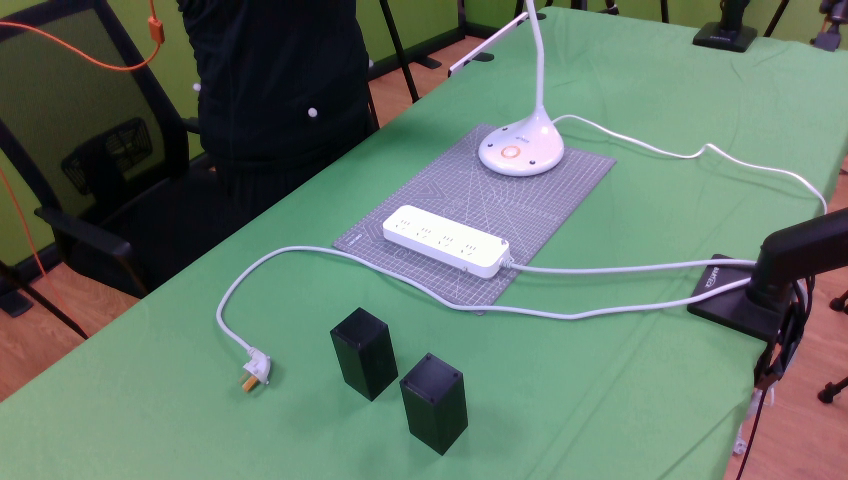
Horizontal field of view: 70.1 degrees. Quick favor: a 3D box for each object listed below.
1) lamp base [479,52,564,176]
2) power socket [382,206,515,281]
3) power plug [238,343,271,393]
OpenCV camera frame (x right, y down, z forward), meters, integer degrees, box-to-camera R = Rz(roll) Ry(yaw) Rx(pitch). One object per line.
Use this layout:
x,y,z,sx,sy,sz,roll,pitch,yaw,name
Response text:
0.181,-0.235,1.094,0.159,0.181,0.179,18,44,27,lamp base
0.032,0.002,0.950,0.225,0.033,0.072,21,49,29,power socket
-0.230,0.172,0.801,0.072,0.035,0.053,8,50,50,power plug
